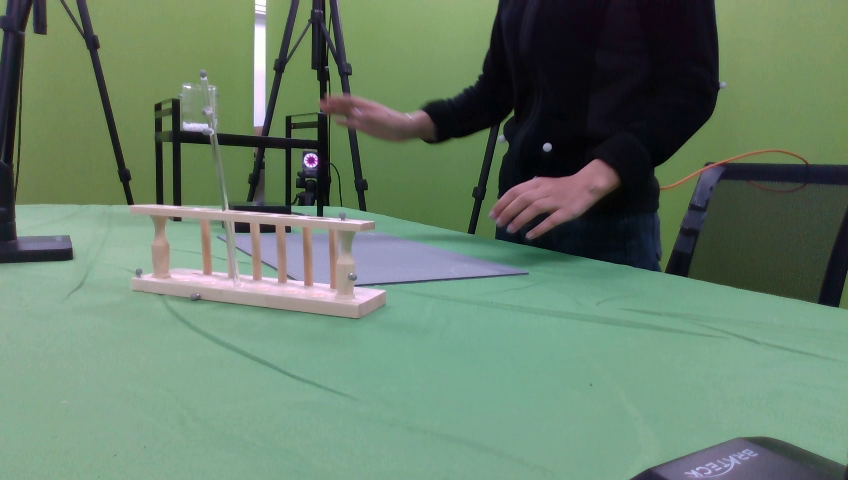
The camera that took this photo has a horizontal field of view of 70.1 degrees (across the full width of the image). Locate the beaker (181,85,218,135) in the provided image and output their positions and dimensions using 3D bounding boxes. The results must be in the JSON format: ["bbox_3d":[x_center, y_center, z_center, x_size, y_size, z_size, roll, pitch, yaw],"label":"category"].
[{"bbox_3d":[-0.476,-0.276,1.290,0.074,0.100,0.083,-4,10,-36],"label":"beaker"}]

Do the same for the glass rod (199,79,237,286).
[{"bbox_3d":[-0.194,-0.050,0.569,0.008,0.199,0.008,-6,7,1],"label":"glass rod"}]

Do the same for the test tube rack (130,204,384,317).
[{"bbox_3d":[-0.163,0.013,0.589,0.242,0.085,0.067,4,8,17],"label":"test tube rack"}]
